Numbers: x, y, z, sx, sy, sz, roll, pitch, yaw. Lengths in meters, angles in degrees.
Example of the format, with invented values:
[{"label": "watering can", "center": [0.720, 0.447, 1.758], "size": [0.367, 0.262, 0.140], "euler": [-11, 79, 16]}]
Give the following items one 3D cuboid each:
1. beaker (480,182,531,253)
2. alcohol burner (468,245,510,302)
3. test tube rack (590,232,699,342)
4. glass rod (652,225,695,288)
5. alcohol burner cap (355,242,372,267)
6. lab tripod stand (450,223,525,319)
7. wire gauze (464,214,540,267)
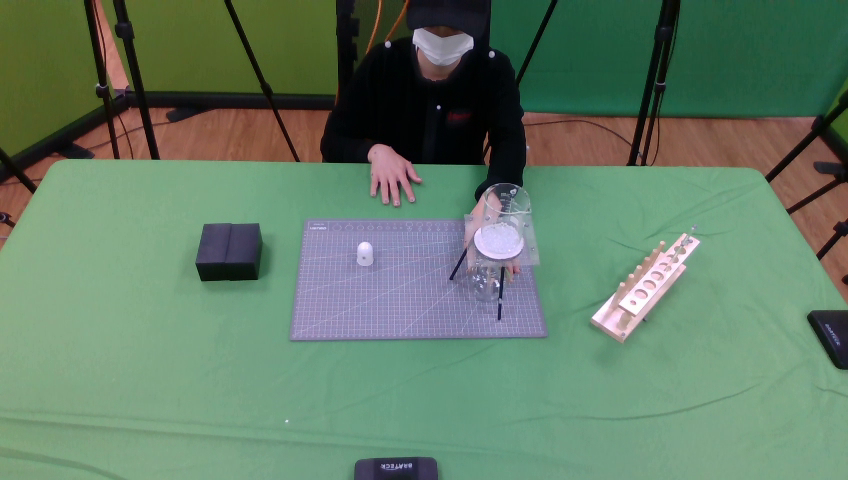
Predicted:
[{"label": "beaker", "center": [0.133, -0.033, 0.998], "size": [0.083, 0.101, 0.074], "euler": [26, 51, 22]}, {"label": "alcohol burner", "center": [0.118, 0.054, 1.086], "size": [0.078, 0.120, 0.077], "euler": [1, 44, -1]}, {"label": "test tube rack", "center": [0.407, 0.074, 1.112], "size": [0.066, 0.085, 0.242], "euler": [35, 53, 26]}, {"label": "glass rod", "center": [0.432, 0.037, 1.057], "size": [0.008, 0.200, 0.008], "euler": [1, 54, -1]}, {"label": "alcohol burner cap", "center": [-0.114, 0.024, 1.147], "size": [0.034, 0.048, 0.033], "euler": [2, 45, -2]}, {"label": "lab tripod stand", "center": [0.120, 0.046, 1.080], "size": [0.148, 0.132, 0.147], "euler": [1, 47, -1]}, {"label": "wire gauze", "center": [0.131, -0.001, 1.035], "size": [0.121, 0.011, 0.124], "euler": [1, 44, -2]}]
